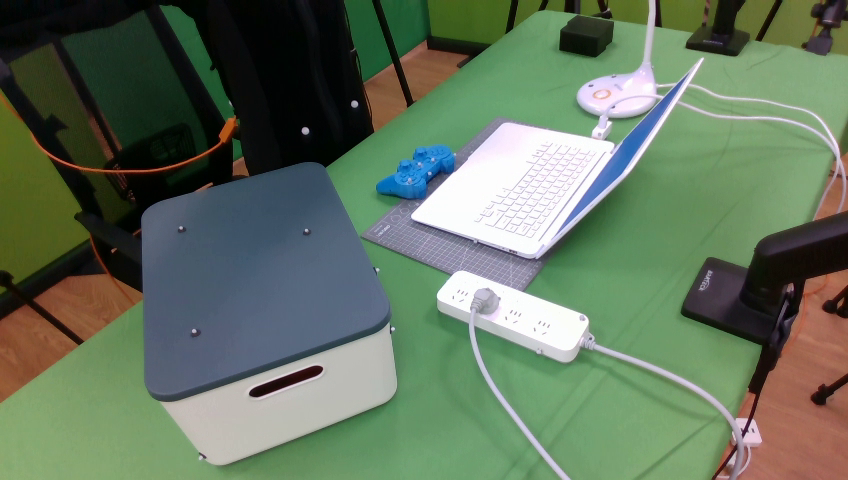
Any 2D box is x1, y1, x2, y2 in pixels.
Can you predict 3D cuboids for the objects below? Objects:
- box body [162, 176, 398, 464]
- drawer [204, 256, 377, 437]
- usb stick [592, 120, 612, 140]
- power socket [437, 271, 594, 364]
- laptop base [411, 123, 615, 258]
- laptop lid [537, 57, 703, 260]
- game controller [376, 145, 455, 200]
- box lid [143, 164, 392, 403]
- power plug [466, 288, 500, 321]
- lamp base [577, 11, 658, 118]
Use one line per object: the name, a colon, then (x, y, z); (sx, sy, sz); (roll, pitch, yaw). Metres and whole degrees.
box body: (-0.205, 0.080, 0.802); (0.255, 0.161, 0.361); (-18, 41, -13)
drawer: (-0.178, 0.129, 0.786); (0.195, 0.073, 0.210); (-13, 39, -10)
usb stick: (0.335, -0.203, 1.149); (0.021, 0.027, 0.059); (26, 53, 26)
power socket: (0.118, 0.102, 0.830); (0.225, 0.033, 0.072); (20, 48, 28)
laptop base: (0.167, -0.102, 1.074); (0.234, 0.023, 0.355); (16, 45, 30)
laptop lid: (0.304, -0.127, 0.928); (0.013, 0.241, 0.357); (40, 51, 4)
game controller: (-0.011, -0.131, 1.112); (0.096, 0.052, 0.155); (23, 49, 28)
box lid: (-0.212, 0.025, 0.753); (0.264, 0.015, 0.368); (-18, 40, -13)
power plug: (0.072, 0.093, 0.813); (0.073, 0.053, 0.035); (-37, 49, -28)
lamp base: (0.406, -0.363, 1.223); (0.180, 0.181, 0.159); (-20, 42, -18)
